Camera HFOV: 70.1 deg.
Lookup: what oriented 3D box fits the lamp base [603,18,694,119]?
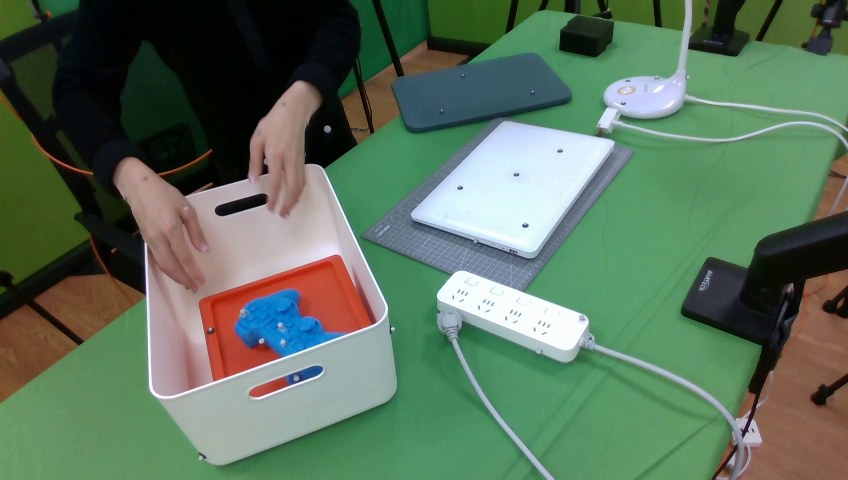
[{"bbox_3d":[0.460,-0.355,1.205,0.179,0.181,0.160,2,41,7],"label":"lamp base"}]

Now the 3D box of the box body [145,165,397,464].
[{"bbox_3d":[-0.205,0.080,0.802,0.255,0.161,0.361,-18,41,-13],"label":"box body"}]

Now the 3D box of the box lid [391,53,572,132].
[{"bbox_3d":[0.122,-0.339,1.366,0.372,0.015,0.261,-12,40,-5],"label":"box lid"}]

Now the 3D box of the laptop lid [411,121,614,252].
[{"bbox_3d":[0.164,-0.112,1.068,0.240,0.013,0.357,19,46,30],"label":"laptop lid"}]

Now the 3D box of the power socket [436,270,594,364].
[{"bbox_3d":[0.118,0.102,0.830,0.225,0.033,0.072,20,48,28],"label":"power socket"}]

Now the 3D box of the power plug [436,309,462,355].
[{"bbox_3d":[0.032,0.126,0.809,0.035,0.053,0.072,3,59,7],"label":"power plug"}]

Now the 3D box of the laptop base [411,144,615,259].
[{"bbox_3d":[0.167,-0.102,1.074,0.234,0.023,0.355,17,45,30],"label":"laptop base"}]

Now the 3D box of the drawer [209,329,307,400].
[{"bbox_3d":[-0.170,0.126,0.779,0.195,0.073,0.210,-17,35,-15],"label":"drawer"}]

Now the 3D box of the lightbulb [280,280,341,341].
[{"bbox_3d":[-0.151,0.099,0.824,0.060,0.060,0.107,-35,60,-29],"label":"lightbulb"}]

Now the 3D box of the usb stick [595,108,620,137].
[{"bbox_3d":[0.355,-0.226,1.175,0.027,0.022,0.059,29,85,41],"label":"usb stick"}]

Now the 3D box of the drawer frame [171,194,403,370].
[{"bbox_3d":[-0.170,0.080,0.765,0.201,0.214,0.082,-29,18,26],"label":"drawer frame"}]

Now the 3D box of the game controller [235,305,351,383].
[{"bbox_3d":[-0.159,0.111,0.734,0.154,0.052,0.097,29,55,35],"label":"game controller"}]
